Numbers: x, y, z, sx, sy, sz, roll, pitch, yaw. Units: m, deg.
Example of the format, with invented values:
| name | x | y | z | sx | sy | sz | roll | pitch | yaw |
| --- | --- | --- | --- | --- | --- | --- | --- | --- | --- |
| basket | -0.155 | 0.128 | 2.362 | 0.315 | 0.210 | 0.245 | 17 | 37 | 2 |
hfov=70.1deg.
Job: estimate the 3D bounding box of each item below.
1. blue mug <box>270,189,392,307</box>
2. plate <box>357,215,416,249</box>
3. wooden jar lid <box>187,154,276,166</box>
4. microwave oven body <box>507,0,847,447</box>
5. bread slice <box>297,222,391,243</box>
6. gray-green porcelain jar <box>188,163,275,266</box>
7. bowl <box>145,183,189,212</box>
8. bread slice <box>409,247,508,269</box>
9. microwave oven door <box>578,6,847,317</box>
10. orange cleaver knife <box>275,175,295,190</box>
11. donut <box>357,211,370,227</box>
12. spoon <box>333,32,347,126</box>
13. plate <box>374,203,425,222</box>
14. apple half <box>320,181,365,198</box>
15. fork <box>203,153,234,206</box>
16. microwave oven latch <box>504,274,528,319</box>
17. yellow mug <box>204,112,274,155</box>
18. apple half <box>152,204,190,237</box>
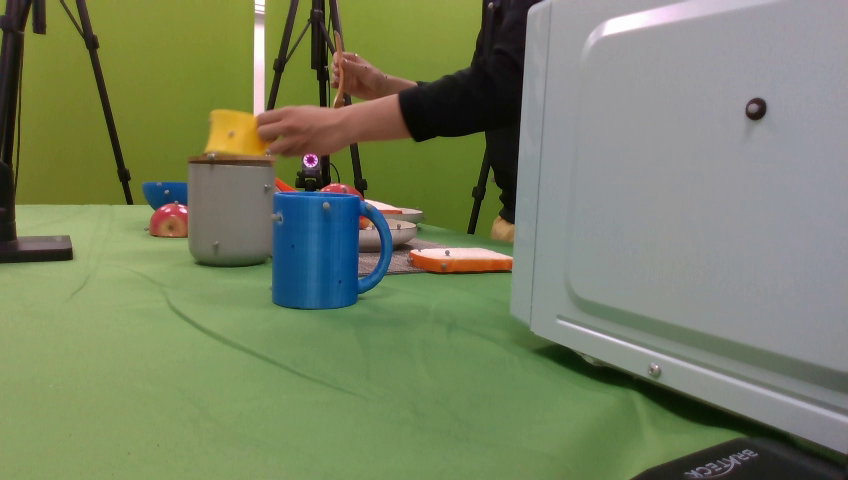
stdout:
| name | x | y | z | sx | sy | sz | roll | pitch | yaw |
| --- | --- | --- | --- | --- | --- | --- | --- | --- | --- |
| blue mug | -0.090 | 0.005 | 0.588 | 0.117 | 0.106 | 0.082 | 1 | 7 | -11 |
| plate | -0.116 | -0.014 | 0.967 | 0.208 | 0.039 | 0.207 | 2 | 8 | 0 |
| wooden jar lid | -0.244 | -0.097 | 0.771 | 0.108 | 0.020 | 0.108 | -1 | 7 | 0 |
| microwave oven body | 0.331 | -0.042 | 0.425 | 0.444 | 0.260 | 0.324 | -2 | 8 | -31 |
| bread slice | -0.121 | -0.014 | 0.970 | 0.106 | 0.018 | 0.135 | 10 | 11 | 41 |
| gray-green porcelain jar | -0.246 | -0.034 | 0.779 | 0.106 | 0.126 | 0.106 | 1 | 7 | 0 |
| bowl | -0.459 | -0.069 | 1.175 | 0.151 | 0.077 | 0.151 | 3 | 7 | 0 |
| bread slice | 0.048 | 0.022 | 0.816 | 0.132 | 0.019 | 0.104 | 0 | 6 | -24 |
| microwave oven door | 0.294 | -0.067 | 0.570 | 0.358 | 0.243 | 0.039 | -3 | 9 | -31 |
| orange cleaver knife | -0.283 | -0.087 | 1.343 | 0.212 | 0.077 | 0.012 | 24 | -16 | -41 |
| donut | -0.132 | -0.041 | 0.959 | 0.099 | 0.048 | 0.099 | 3 | 8 | 0 |
| spoon | -0.166 | -0.318 | 1.193 | 0.021 | 0.193 | 0.042 | -4 | -8 | 28 |
| plate | -0.102 | -0.053 | 1.299 | 0.209 | 0.038 | 0.209 | 2 | 8 | 0 |
| apple half | -0.130 | -0.076 | 0.951 | 0.081 | 0.033 | 0.081 | 4 | 13 | -1 |
| fork | -0.480 | -0.135 | 1.411 | 0.028 | 0.018 | 0.207 | 1 | -34 | -1 |
| microwave oven latch | 0.100 | 0.041 | 0.470 | 0.079 | 0.029 | 0.030 | -1 | 7 | -27 |
| yellow mug | -0.281 | -0.158 | 0.952 | 0.130 | 0.064 | 0.100 | 7 | 0 | 38 |
| apple half | -0.415 | -0.034 | 1.017 | 0.081 | 0.053 | 0.074 | 1 | 10 | -9 |
